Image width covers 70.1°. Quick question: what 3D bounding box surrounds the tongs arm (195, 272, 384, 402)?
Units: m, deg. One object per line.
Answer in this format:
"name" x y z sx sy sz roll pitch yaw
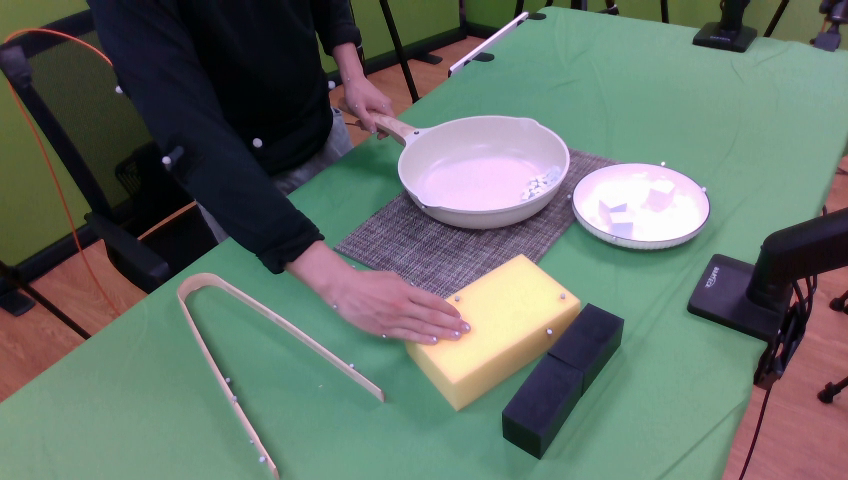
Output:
"tongs arm" -0.199 0.126 0.847 0.384 0.028 0.028 25 52 32

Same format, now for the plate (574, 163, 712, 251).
"plate" 0.345 -0.050 0.966 0.207 0.039 0.206 -4 40 4

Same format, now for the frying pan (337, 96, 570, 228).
"frying pan" 0.023 -0.167 1.090 0.484 0.103 0.308 32 52 26

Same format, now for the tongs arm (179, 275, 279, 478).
"tongs arm" -0.260 0.162 0.807 0.051 0.026 0.381 -29 44 -25

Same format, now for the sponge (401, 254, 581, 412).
"sponge" 0.089 0.115 0.791 0.207 0.061 0.117 -29 47 -22
